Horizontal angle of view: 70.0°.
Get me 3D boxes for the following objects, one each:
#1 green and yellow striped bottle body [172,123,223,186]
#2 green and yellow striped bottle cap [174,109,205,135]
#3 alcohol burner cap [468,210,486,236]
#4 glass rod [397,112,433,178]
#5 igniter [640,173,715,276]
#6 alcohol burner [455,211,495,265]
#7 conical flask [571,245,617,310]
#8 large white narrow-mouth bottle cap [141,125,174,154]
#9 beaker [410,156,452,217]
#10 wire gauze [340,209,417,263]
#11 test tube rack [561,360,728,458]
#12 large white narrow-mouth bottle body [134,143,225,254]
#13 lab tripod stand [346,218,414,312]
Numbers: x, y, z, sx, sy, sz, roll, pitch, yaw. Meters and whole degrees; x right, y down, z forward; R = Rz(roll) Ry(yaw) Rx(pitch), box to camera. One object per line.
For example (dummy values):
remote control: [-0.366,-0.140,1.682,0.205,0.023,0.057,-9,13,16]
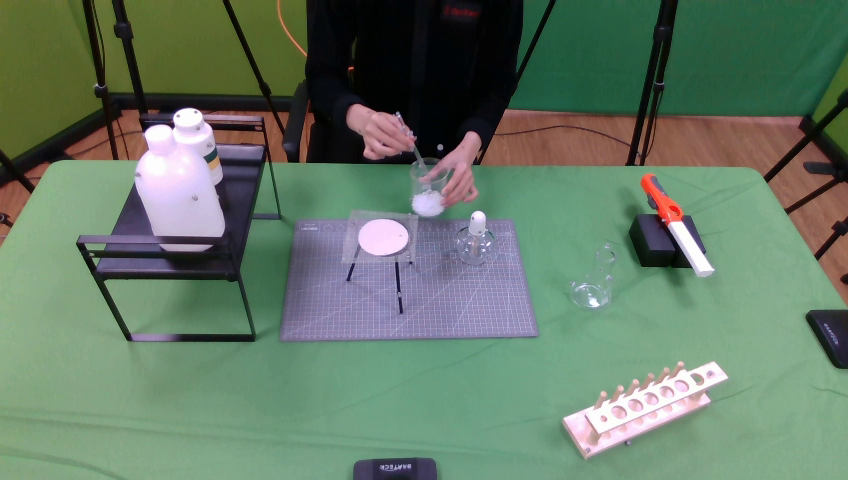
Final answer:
green and yellow striped bottle body: [-0.373,-0.148,0.994,0.063,0.120,0.063,2,46,-2]
green and yellow striped bottle cap: [-0.369,-0.186,0.954,0.045,0.020,0.045,3,50,-3]
alcohol burner cap: [0.100,-0.034,1.119,0.034,0.048,0.033,0,53,0]
glass rod: [-0.014,-0.164,1.080,0.008,0.201,0.008,-8,61,15]
igniter: [0.495,-0.039,1.204,0.057,0.025,0.274,-2,47,-12]
alcohol burner: [0.097,-0.010,1.147,0.078,0.120,0.077,1,47,0]
conical flask: [0.313,0.064,1.089,0.075,0.122,0.075,2,46,-2]
large white narrow-mouth bottle cap: [-0.356,-0.134,0.811,0.038,0.024,0.037,1,47,-1]
beaker: [0.013,-0.102,1.177,0.084,0.101,0.073,-14,49,-14]
wire gauze: [-0.074,-0.006,1.023,0.121,0.011,0.124,3,46,0]
test tube rack: [0.341,0.247,0.940,0.243,0.085,0.066,-15,49,-18]
large white narrow-mouth bottle body: [-0.358,-0.075,0.875,0.102,0.195,0.101,1,47,-1]
lab tripod stand: [-0.070,0.037,1.075,0.148,0.132,0.147,1,48,-1]
